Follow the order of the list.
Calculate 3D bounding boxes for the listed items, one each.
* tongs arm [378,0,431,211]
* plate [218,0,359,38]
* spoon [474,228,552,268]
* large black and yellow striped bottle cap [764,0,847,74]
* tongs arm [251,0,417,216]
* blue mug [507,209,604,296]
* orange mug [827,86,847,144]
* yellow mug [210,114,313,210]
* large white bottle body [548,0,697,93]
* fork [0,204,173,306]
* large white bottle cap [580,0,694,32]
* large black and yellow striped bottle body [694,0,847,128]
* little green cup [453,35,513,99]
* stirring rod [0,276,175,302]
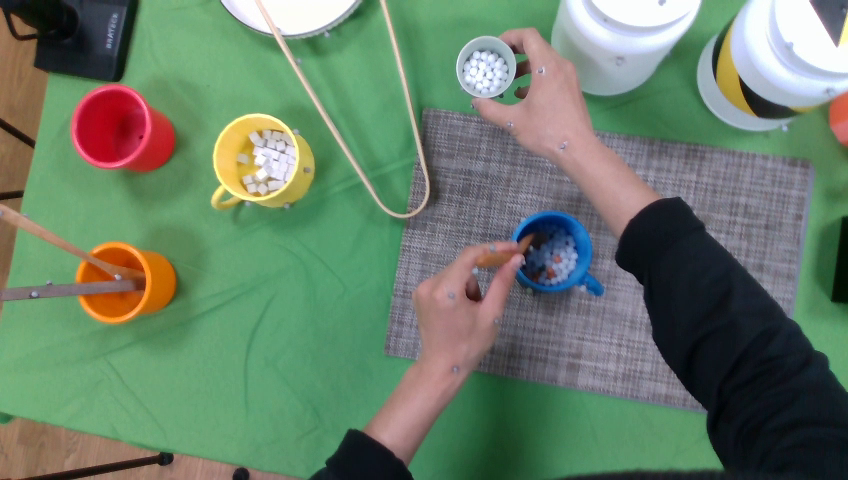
[{"bbox_3d":[-0.045,-0.224,0.704,0.028,0.027,0.387,-15,93,-4],"label":"tongs arm"},{"bbox_3d":[-0.159,-0.344,0.736,0.207,0.039,0.207,0,88,5],"label":"plate"},{"bbox_3d":[0.089,0.011,0.580,0.021,0.194,0.042,41,110,15],"label":"spoon"},{"bbox_3d":[0.359,-0.203,0.528,0.115,0.019,0.115,0,88,4],"label":"large black and yellow striped bottle cap"},{"bbox_3d":[-0.122,-0.190,0.706,0.051,0.026,0.385,-29,92,0],"label":"tongs arm"},{"bbox_3d":[0.145,0.023,0.656,0.116,0.106,0.082,37,91,6],"label":"blue mug"},{"bbox_3d":[0.498,-0.130,0.640,0.083,0.101,0.126,-1,83,6],"label":"orange mug"},{"bbox_3d":[-0.200,-0.081,0.714,0.131,0.064,0.100,-42,85,3],"label":"yellow mug"},{"bbox_3d":[0.201,-0.241,0.627,0.130,0.185,0.130,0,87,5],"label":"large white bottle body"},{"bbox_3d":[-0.379,0.019,0.682,0.209,0.018,0.028,39,85,-38],"label":"fork"},{"bbox_3d":[0.193,-0.245,0.543,0.115,0.018,0.114,0,87,6],"label":"large white bottle cap"},{"bbox_3d":[0.367,-0.197,0.611,0.130,0.184,0.130,0,87,6],"label":"large black and yellow striped bottle body"},{"bbox_3d":[0.062,-0.176,0.629,0.061,0.038,0.061,0,92,5],"label":"little green cup"},{"bbox_3d":[-0.376,0.055,0.687,0.177,0.006,0.014,-3,81,-37],"label":"stirring rod"}]
